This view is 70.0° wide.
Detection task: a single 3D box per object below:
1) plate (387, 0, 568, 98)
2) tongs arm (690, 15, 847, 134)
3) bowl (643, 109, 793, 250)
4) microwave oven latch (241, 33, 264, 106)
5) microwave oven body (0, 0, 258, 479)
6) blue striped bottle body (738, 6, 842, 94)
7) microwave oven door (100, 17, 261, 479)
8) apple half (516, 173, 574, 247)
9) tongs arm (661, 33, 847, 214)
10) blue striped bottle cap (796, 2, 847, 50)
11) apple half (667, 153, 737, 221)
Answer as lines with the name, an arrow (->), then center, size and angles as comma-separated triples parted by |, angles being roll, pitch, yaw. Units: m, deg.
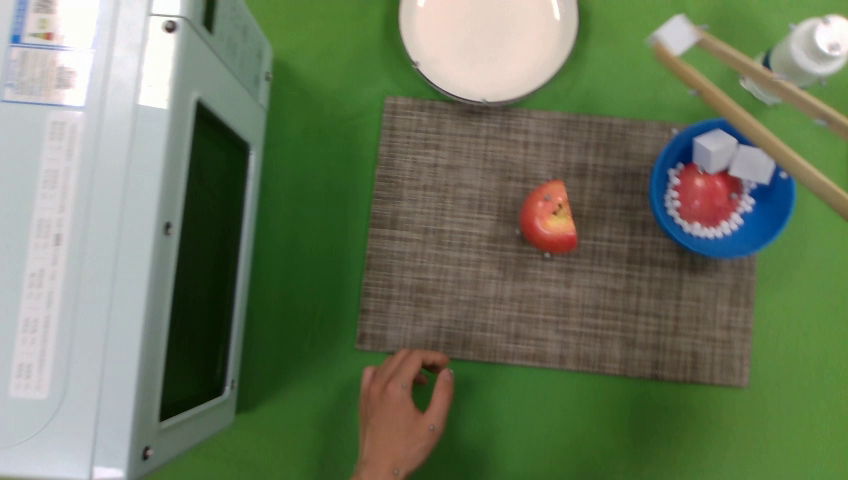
plate -> 0.061, -0.264, 0.709 | 0.208, 0.039, 0.207 | 0, 86, 0
tongs arm -> 0.343, -0.077, 0.494 | 0.051, 0.027, 0.380 | -37, 56, -1
bowl -> 0.308, -0.060, 0.667 | 0.151, 0.077, 0.151 | 0, 85, 1
microwave oven latch -> -0.199, -0.195, 0.687 | 0.030, 0.029, 0.079 | 4, 86, 0
microwave oven body -> -0.359, -0.037, 0.579 | 0.326, 0.260, 0.440 | 3, 86, 0
blue striped bottle body -> 0.403, -0.209, 0.660 | 0.063, 0.121, 0.063 | 0, 84, 0
microwave oven door -> -0.215, 0.013, 0.570 | 0.039, 0.244, 0.355 | 3, 85, 1
apple half -> 0.129, -0.029, 0.669 | 0.053, 0.075, 0.080 | -14, 89, 3
tongs arm -> 0.324, -0.064, 0.495 | 0.028, 0.028, 0.383 | -32, 56, -1
blue striped bottle cap -> 0.402, -0.215, 0.610 | 0.044, 0.020, 0.044 | 0, 88, 1
apple half -> 0.309, -0.060, 0.663 | 0.081, 0.033, 0.081 | 0, 84, 1
